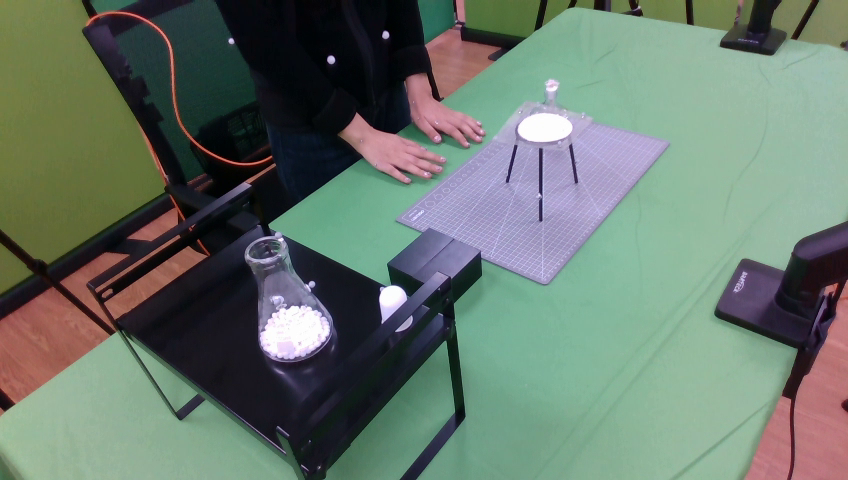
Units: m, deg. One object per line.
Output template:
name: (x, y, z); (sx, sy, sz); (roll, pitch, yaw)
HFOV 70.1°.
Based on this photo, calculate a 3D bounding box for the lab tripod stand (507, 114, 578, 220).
lab tripod stand: (0.198, -0.128, 1.005); (0.148, 0.132, 0.147); (-3, 42, 3)

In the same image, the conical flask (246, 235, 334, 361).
conical flask: (-0.134, 0.053, 0.576); (0.075, 0.122, 0.075); (-5, 40, 4)

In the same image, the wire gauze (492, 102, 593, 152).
wire gauze: (0.190, -0.180, 0.964); (0.120, 0.011, 0.125); (19, 47, 27)

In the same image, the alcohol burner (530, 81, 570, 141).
alcohol burner: (0.241, -0.251, 1.159); (0.078, 0.119, 0.077); (-4, 42, 4)

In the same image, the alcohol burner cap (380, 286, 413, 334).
alcohol burner cap: (-0.029, 0.068, 0.605); (0.034, 0.048, 0.033); (-5, 40, 4)
